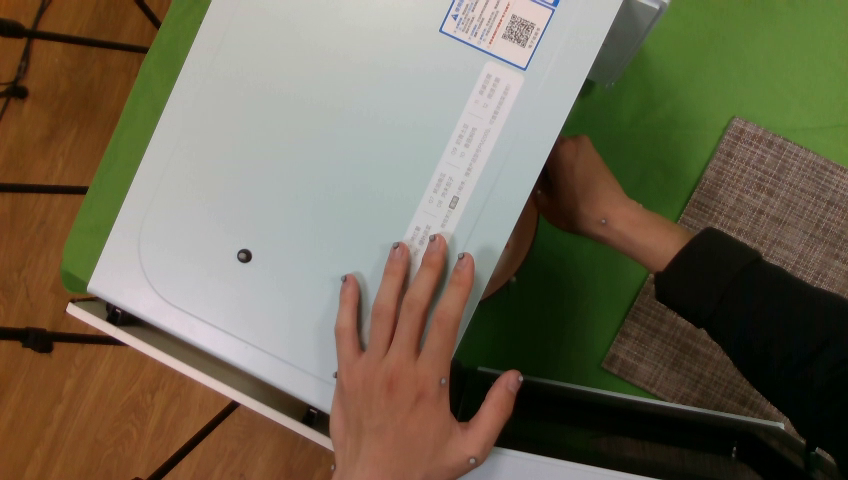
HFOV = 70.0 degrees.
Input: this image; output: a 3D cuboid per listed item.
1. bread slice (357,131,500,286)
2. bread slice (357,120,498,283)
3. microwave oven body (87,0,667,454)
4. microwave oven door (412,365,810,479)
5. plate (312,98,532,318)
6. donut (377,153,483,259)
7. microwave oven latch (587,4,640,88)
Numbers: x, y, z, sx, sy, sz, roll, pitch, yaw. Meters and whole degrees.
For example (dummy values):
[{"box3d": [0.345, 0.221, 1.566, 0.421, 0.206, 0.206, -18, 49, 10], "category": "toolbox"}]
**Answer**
[{"box3d": [-0.004, -0.035, 0.581, 0.107, 0.018, 0.134, -27, 93, -4], "category": "bread slice"}, {"box3d": [-0.005, -0.036, 0.530, 0.105, 0.019, 0.131, -19, 92, 8], "category": "bread slice"}, {"box3d": [-0.029, -0.102, 0.548, 0.325, 0.260, 0.442, 25, 94, 5], "category": "microwave oven body"}, {"box3d": [0.179, 0.178, 0.524, 0.355, 0.244, 0.039, 9, 91, 6], "category": "microwave oven door"}, {"box3d": [-0.002, -0.030, 0.586, 0.208, 0.039, 0.207, 0, 93, 0], "category": "plate"}, {"box3d": [0.005, -0.031, 0.561, 0.099, 0.048, 0.099, 0, 95, 0], "category": "donut"}, {"box3d": [0.191, -0.199, 0.619, 0.030, 0.029, 0.079, 26, 94, 5], "category": "microwave oven latch"}]
